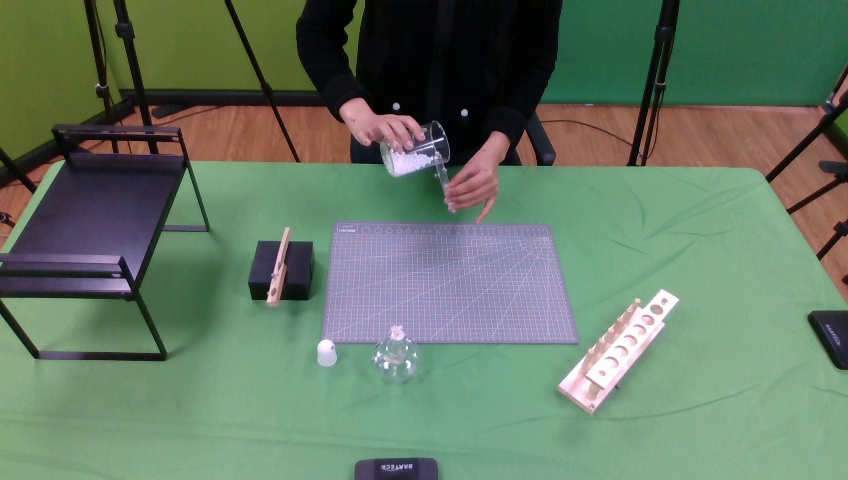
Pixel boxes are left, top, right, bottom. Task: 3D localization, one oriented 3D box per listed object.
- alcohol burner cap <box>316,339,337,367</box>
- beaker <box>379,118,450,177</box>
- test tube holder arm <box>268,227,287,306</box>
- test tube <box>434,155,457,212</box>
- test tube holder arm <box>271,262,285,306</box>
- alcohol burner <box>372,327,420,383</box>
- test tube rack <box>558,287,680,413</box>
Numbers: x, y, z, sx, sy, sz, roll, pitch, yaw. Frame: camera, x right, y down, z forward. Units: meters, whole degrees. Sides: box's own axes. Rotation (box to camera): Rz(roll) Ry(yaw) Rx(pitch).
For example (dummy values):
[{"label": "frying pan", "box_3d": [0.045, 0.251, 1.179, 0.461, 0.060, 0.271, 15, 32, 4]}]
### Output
[{"label": "alcohol burner cap", "box_3d": [-0.161, 0.182, 0.995, 0.034, 0.048, 0.033, 2, 47, -2]}, {"label": "beaker", "box_3d": [-0.018, -0.150, 1.008, 0.100, 0.084, 0.073, -21, 56, -14]}, {"label": "test tube holder arm", "box_3d": [-0.258, 0.043, 1.071, 0.013, 0.015, 0.177, -6, 46, 1]}, {"label": "test tube", "box_3d": [0.041, -0.100, 1.110, 0.017, 0.151, 0.017, -7, 54, 10]}, {"label": "test tube holder arm", "box_3d": [-0.250, 0.075, 1.040, 0.010, 0.015, 0.087, -5, 46, 2]}, {"label": "alcohol burner", "box_3d": [-0.044, 0.175, 0.961, 0.078, 0.120, 0.077, 1, 47, -1]}, {"label": "test tube rack", "box_3d": [0.326, 0.170, 1.009, 0.066, 0.085, 0.242, 36, 54, 27]}]
